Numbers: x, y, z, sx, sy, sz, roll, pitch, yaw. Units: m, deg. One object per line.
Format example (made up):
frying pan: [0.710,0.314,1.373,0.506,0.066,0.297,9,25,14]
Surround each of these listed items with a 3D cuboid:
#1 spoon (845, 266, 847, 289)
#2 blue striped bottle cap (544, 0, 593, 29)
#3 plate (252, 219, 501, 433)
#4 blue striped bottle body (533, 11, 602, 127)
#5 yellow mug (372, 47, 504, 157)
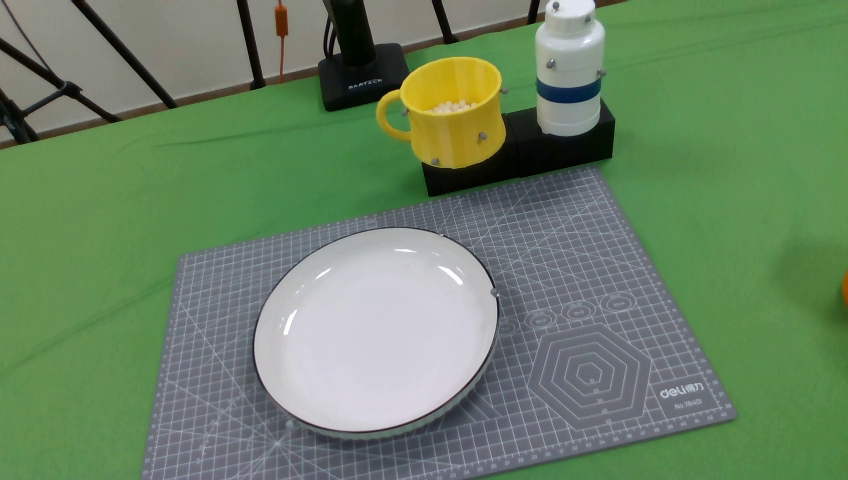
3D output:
spoon: [0.390,-0.026,0.432,0.194,0.022,0.041,-47,39,23]
blue striped bottle cap: [0.128,-0.208,0.538,0.044,0.021,0.044,-7,47,8]
plate: [-0.038,0.069,0.512,0.207,0.039,0.205,-6,47,6]
blue striped bottle body: [0.135,-0.173,0.576,0.063,0.122,0.062,-6,47,7]
yellow mug: [0.012,-0.137,0.606,0.130,0.064,0.099,-3,47,10]
